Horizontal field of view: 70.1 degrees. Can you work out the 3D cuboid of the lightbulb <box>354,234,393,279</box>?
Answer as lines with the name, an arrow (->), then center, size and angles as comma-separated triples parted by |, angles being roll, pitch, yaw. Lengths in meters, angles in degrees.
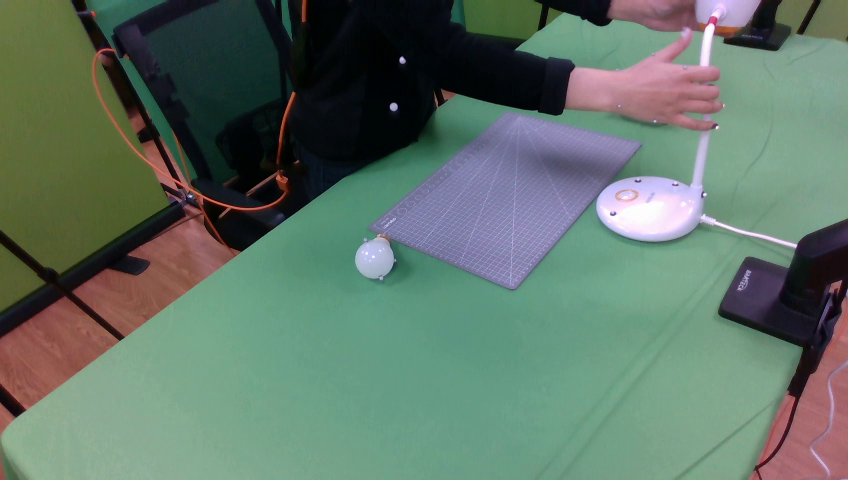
lightbulb -> -0.074, 0.020, 0.952 | 0.059, 0.060, 0.107 | -2, 25, 9

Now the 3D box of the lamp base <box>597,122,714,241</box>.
lamp base -> 0.364, -0.109, 0.921 | 0.178, 0.181, 0.160 | 13, 45, 21

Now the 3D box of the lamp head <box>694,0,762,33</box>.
lamp head -> 0.439, -0.361, 0.870 | 0.112, 0.123, 0.112 | 2, 28, 0
